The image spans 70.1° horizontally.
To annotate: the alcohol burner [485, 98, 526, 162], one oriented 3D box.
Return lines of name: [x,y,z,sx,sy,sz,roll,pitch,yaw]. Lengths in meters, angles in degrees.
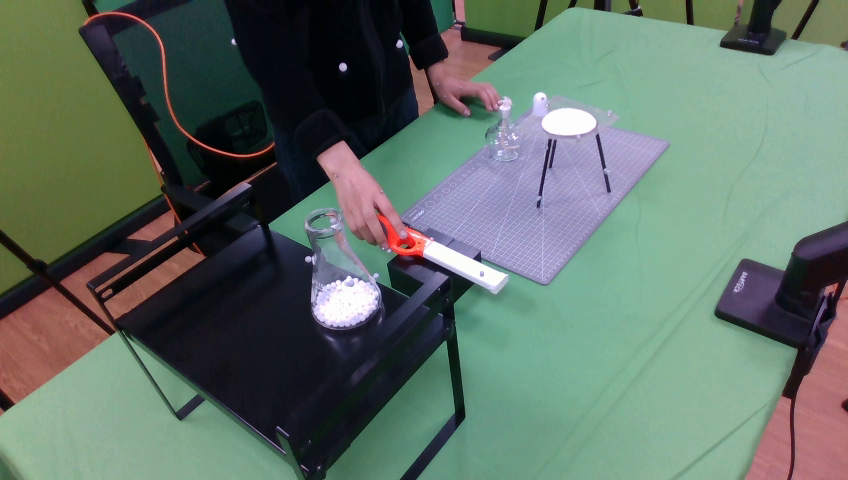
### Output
alcohol burner: [0.151,-0.208,1.122,0.078,0.119,0.077,-5,38,4]

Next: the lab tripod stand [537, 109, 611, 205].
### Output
lab tripod stand: [0.244,-0.141,1.014,0.148,0.132,0.147,-3,39,3]

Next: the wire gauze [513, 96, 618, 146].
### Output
wire gauze: [0.229,-0.190,0.969,0.120,0.011,0.125,26,50,33]

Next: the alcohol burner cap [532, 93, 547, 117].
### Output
alcohol burner cap: [0.240,-0.282,1.251,0.034,0.048,0.033,-3,43,3]

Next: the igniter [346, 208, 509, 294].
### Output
igniter: [-0.003,0.010,0.884,0.274,0.025,0.057,25,49,28]

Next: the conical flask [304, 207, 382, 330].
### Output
conical flask: [-0.088,0.025,0.601,0.075,0.122,0.075,-5,40,5]
